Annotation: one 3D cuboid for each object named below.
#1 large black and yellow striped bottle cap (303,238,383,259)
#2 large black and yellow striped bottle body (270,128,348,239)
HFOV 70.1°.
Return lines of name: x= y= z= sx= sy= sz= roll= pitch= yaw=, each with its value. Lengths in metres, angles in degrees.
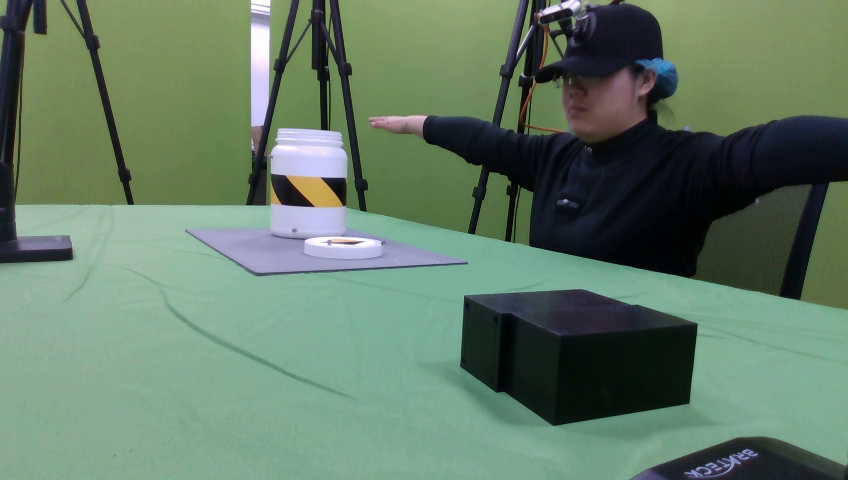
large black and yellow striped bottle cap: x=-0.117 y=0.011 z=0.880 sx=0.115 sy=0.019 sz=0.115 roll=2 pitch=6 yaw=0
large black and yellow striped bottle body: x=-0.200 y=-0.099 z=1.053 sx=0.131 sy=0.184 sz=0.130 roll=3 pitch=8 yaw=0
